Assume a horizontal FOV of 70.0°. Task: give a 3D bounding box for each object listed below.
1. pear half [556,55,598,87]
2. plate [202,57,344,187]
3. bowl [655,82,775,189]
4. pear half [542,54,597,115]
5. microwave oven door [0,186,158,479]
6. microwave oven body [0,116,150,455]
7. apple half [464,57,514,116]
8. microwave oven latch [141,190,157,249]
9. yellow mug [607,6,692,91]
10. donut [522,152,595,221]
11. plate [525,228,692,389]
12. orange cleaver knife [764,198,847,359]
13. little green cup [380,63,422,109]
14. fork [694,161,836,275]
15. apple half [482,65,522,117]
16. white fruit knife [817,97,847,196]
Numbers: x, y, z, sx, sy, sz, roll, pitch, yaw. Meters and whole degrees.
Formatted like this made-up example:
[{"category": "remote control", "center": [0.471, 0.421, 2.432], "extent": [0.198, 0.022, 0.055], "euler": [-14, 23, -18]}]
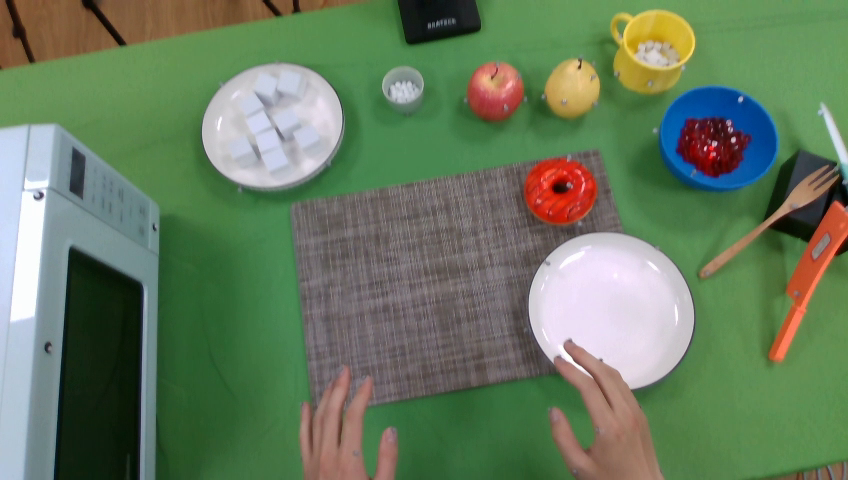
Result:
[{"category": "pear half", "center": [0.218, -0.243, 0.863], "extent": [0.070, 0.088, 0.031], "euler": [18, 75, 14]}, {"category": "plate", "center": [-0.218, -0.170, 0.891], "extent": [0.207, 0.039, 0.206], "euler": [-1, 72, 3]}, {"category": "bowl", "center": [0.382, -0.129, 0.824], "extent": [0.151, 0.077, 0.150], "euler": [-1, 73, 3]}, {"category": "pear half", "center": [0.201, -0.215, 0.844], "extent": [0.076, 0.110, 0.056], "euler": [20, 74, 14]}, {"category": "microwave oven door", "center": [-0.368, 0.148, 0.671], "extent": [0.039, 0.245, 0.353], "euler": [-8, 72, 1]}, {"category": "microwave oven body", "center": [-0.518, 0.128, 0.692], "extent": [0.326, 0.261, 0.438], "euler": [-7, 73, 0]}, {"category": "apple half", "center": [0.088, -0.226, 0.874], "extent": [0.053, 0.075, 0.080], "euler": [38, 81, 18]}, {"category": "microwave oven latch", "center": [-0.386, -0.027, 0.835], "extent": [0.030, 0.029, 0.078], "euler": [-6, 73, 1]}, {"category": "yellow mug", "center": [0.318, -0.288, 0.884], "extent": [0.100, 0.064, 0.130], "euler": [-41, 74, -9]}, {"category": "donut", "center": [0.183, -0.073, 0.830], "extent": [0.099, 0.048, 0.098], "euler": [-1, 73, 5]}, {"category": "plate", "center": [0.233, 0.087, 0.780], "extent": [0.209, 0.038, 0.208], "euler": [-1, 72, 3]}, {"category": "orange cleaver knife", "center": [0.474, 0.049, 0.760], "extent": [0.012, 0.077, 0.212], "euler": [21, 104, 8]}, {"category": "little green cup", "center": [-0.033, -0.226, 0.898], "extent": [0.061, 0.039, 0.061], "euler": [-1, 72, 4]}, {"category": "fork", "center": [0.435, -0.024, 0.782], "extent": [0.207, 0.019, 0.028], "euler": [-42, 80, 11]}, {"category": "apple half", "center": [0.118, -0.204, 0.864], "extent": [0.032, 0.082, 0.081], "euler": [37, 78, 18]}, {"category": "white fruit knife", "center": [0.546, -0.097, 0.785], "extent": [0.027, 0.016, 0.206], "euler": [2, 68, -26]}]
